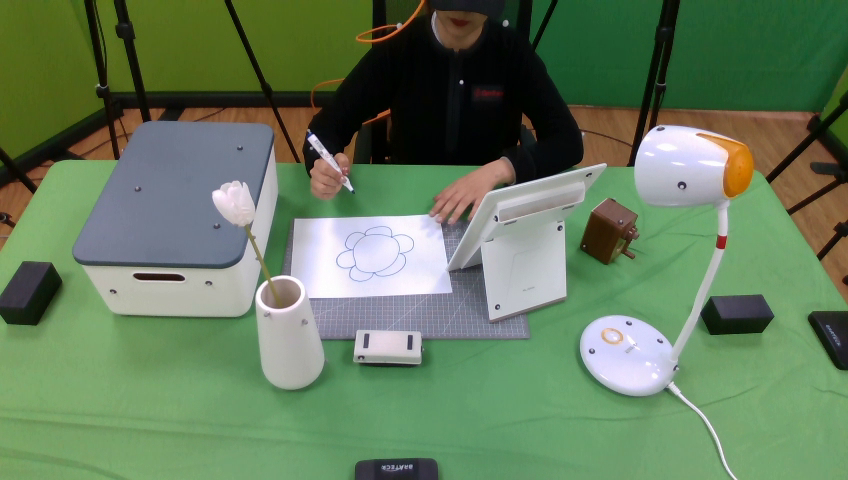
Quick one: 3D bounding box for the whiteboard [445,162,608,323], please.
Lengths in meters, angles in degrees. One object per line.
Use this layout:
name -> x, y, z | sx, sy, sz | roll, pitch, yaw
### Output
whiteboard -> 0.186, 0.025, 1.029 | 0.217, 0.306, 0.143 | -14, 68, -17

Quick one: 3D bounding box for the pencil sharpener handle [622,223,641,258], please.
pencil sharpener handle -> 0.397, 0.002, 1.146 | 0.030, 0.068, 0.036 | 37, 46, 27

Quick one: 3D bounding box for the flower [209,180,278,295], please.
flower -> -0.217, 0.075, 0.871 | 0.044, 0.363, 0.038 | -29, 36, -19

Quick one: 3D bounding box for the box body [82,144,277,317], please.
box body -> -0.421, -0.041, 1.108 | 0.254, 0.161, 0.361 | 2, 46, -3

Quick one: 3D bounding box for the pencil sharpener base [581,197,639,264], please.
pencil sharpener base -> 0.362, -0.017, 1.179 | 0.076, 0.107, 0.061 | 37, 54, 27

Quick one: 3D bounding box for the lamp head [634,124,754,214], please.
lamp head -> 0.351, -0.089, 0.776 | 0.112, 0.113, 0.122 | -30, 30, -28

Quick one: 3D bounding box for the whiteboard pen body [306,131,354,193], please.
whiteboard pen body -> -0.177, -0.146, 1.152 | 0.141, 0.017, 0.017 | 53, 54, -8

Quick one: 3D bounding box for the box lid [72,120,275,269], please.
box lid -> -0.417, -0.094, 1.056 | 0.263, 0.015, 0.369 | 2, 47, -3

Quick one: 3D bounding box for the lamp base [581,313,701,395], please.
lamp base -> 0.361, 0.144, 0.973 | 0.178, 0.181, 0.160 | 34, 53, 23

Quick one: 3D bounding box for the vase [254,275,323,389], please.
vase -> -0.209, 0.143, 0.921 | 0.098, 0.201, 0.097 | 1, 46, -1

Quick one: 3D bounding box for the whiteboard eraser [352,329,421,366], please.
whiteboard eraser -> -0.061, 0.180, 1.005 | 0.113, 0.042, 0.055 | 3, 48, -3

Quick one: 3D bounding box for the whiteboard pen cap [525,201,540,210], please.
whiteboard pen cap -> 0.230, -0.074, 1.289 | 0.033, 0.018, 0.018 | 5, 46, 3
